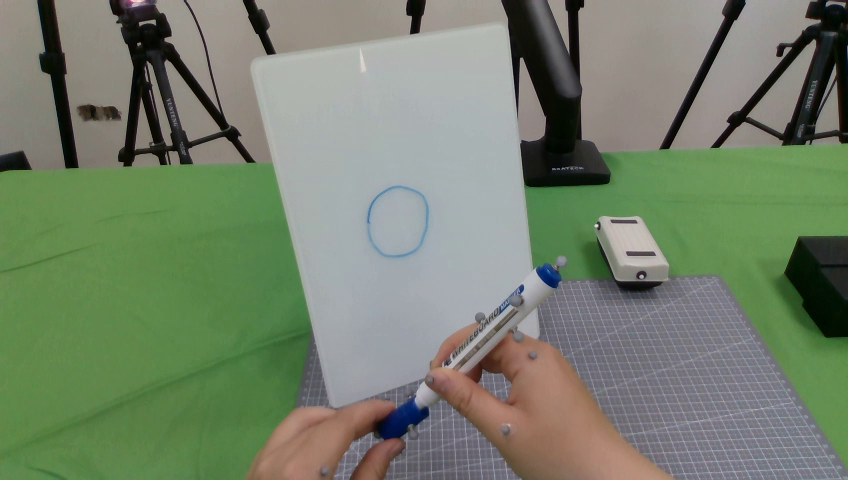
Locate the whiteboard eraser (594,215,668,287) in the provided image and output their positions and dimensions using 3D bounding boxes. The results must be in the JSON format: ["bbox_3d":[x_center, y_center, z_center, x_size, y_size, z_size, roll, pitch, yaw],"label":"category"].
[{"bbox_3d":[0.233,0.012,0.690,0.055,0.042,0.111,-2,32,2],"label":"whiteboard eraser"}]

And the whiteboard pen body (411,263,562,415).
[{"bbox_3d":[0.028,0.064,0.354,0.017,0.141,0.017,32,26,-17],"label":"whiteboard pen body"}]

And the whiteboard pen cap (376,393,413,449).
[{"bbox_3d":[-0.017,0.113,0.378,0.018,0.018,0.033,14,70,21],"label":"whiteboard pen cap"}]

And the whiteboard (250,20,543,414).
[{"bbox_3d":[-0.028,-0.031,0.582,0.218,0.307,0.142,-15,18,-17],"label":"whiteboard"}]
